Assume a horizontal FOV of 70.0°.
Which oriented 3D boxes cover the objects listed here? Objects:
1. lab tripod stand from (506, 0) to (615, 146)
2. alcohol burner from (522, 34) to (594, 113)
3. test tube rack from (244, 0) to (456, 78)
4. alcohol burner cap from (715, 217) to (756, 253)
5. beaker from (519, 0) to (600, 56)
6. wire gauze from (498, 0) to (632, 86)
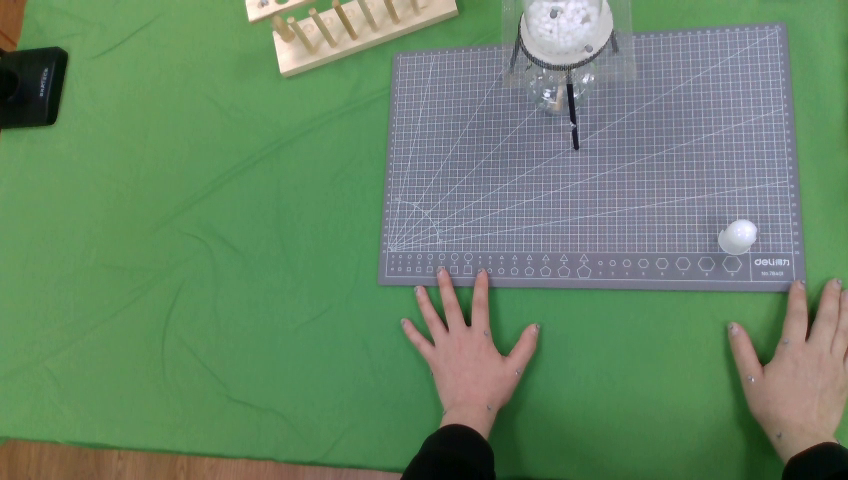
[{"bbox_3d":[0.149,-0.190,0.643,0.148,0.132,0.147,-2,78,12],"label":"lab tripod stand"},{"bbox_3d":[0.144,-0.185,0.653,0.078,0.120,0.077,-3,76,12],"label":"alcohol burner"},{"bbox_3d":[-0.091,-0.289,0.753,0.242,0.086,0.066,-17,74,10],"label":"test tube rack"},{"bbox_3d":[0.315,-0.008,0.609,0.034,0.048,0.033,-3,76,13],"label":"alcohol burner cap"},{"bbox_3d":[0.117,-0.217,0.536,0.083,0.101,0.074,13,82,17],"label":"beaker"},{"bbox_3d":[0.134,-0.206,0.581,0.125,0.011,0.121,0,81,11],"label":"wire gauze"}]
